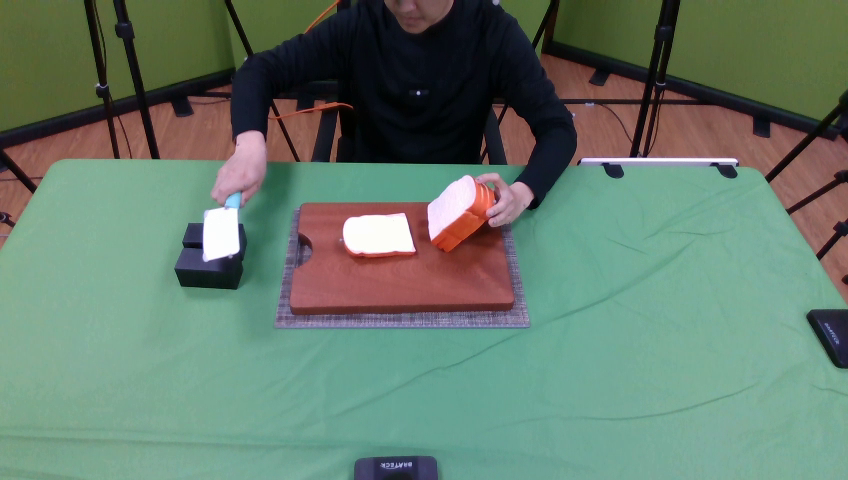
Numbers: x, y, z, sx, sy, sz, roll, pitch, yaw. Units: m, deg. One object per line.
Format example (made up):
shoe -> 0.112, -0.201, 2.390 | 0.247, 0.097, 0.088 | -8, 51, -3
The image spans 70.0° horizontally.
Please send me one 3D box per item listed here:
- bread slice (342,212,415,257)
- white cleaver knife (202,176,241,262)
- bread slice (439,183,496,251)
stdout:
bread slice -> -0.091, -0.009, 1.154 | 0.132, 0.019, 0.104 | -4, 48, -13
white cleaver knife -> -0.363, -0.046, 1.088 | 0.066, 0.021, 0.284 | -10, 33, -10
bread slice -> 0.079, -0.049, 1.148 | 0.018, 0.134, 0.106 | 35, 36, -31
